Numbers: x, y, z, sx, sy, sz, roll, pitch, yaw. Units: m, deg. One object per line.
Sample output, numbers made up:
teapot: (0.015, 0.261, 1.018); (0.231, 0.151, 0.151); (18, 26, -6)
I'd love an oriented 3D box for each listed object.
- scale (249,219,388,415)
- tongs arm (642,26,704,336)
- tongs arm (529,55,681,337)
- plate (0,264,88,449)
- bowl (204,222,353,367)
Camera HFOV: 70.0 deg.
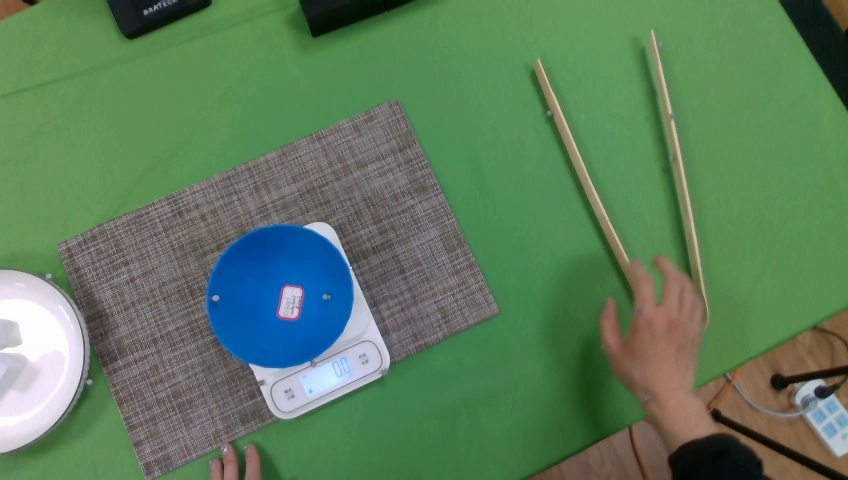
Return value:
scale: (-0.143, 0.088, 0.706); (0.149, 0.031, 0.200); (-24, 83, -5)
tongs arm: (0.292, -0.076, 0.745); (0.051, 0.026, 0.383); (-10, 82, -2)
tongs arm: (0.214, -0.056, 0.744); (0.028, 0.028, 0.386); (-22, 82, -7)
plate: (-0.486, 0.132, 0.692); (0.208, 0.039, 0.207); (0, 81, -2)
bowl: (-0.150, 0.061, 0.657); (0.151, 0.077, 0.151); (0, 81, -3)
